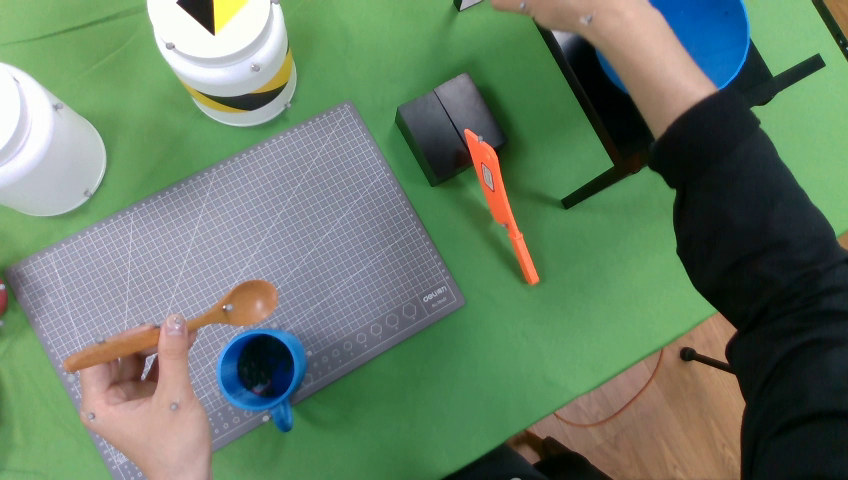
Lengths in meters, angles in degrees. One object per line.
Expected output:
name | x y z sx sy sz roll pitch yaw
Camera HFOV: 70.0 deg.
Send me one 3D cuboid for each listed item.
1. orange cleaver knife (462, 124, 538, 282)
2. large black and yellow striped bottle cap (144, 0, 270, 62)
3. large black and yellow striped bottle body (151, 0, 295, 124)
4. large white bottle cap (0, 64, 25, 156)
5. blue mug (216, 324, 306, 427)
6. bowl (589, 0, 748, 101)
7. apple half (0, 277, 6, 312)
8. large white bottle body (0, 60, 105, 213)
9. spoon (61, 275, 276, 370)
orange cleaver knife | 0.092 -0.042 0.736 0.012 0.076 0.213 -30 118 -11
large black and yellow striped bottle cap | -0.209 -0.230 0.586 0.115 0.019 0.114 1 84 -9
large black and yellow striped bottle body | -0.217 -0.217 0.668 0.131 0.184 0.130 1 82 -6
large white bottle cap | -0.423 -0.118 0.543 0.115 0.018 0.114 1 83 -7
blue mug | -0.170 0.150 0.667 0.082 0.106 0.116 -21 86 -9
bowl | 0.225 -0.200 0.595 0.152 0.077 0.151 1 83 -7
apple half | -0.491 0.069 0.655 0.081 0.074 0.053 -44 94 -13
large white bottle body | -0.432 -0.107 0.627 0.131 0.185 0.130 1 82 -7
spoon | -0.185 0.063 0.472 0.021 0.194 0.042 7 102 24
